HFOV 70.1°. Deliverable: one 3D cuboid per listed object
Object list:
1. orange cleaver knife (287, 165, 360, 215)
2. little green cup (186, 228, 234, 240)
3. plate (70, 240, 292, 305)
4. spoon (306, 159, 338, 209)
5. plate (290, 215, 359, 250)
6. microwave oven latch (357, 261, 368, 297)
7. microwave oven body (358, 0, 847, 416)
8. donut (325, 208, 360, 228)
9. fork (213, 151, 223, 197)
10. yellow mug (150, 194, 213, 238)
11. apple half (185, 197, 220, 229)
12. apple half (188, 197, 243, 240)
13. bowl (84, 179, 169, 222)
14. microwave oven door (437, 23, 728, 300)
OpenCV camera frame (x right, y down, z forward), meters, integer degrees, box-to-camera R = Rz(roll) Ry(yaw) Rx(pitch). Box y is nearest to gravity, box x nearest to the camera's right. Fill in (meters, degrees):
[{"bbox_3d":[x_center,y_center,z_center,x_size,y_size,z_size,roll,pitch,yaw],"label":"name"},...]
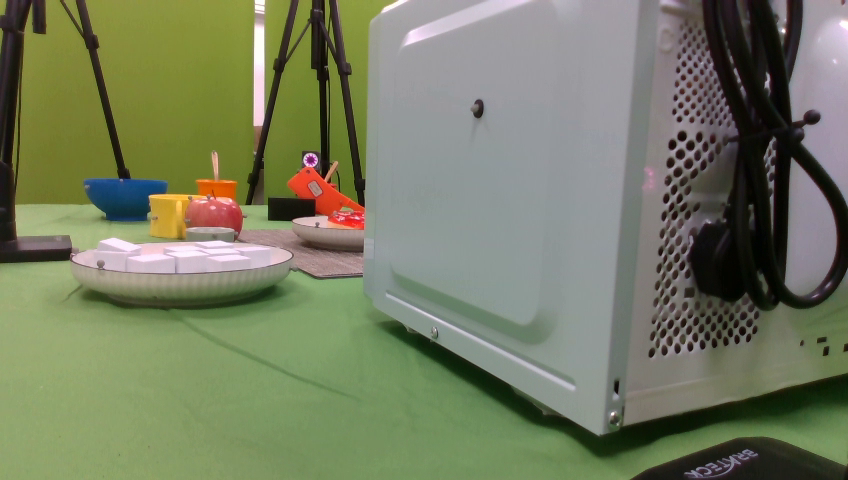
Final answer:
[{"bbox_3d":[-0.211,-0.093,1.382,0.212,0.077,0.012,33,1,-15],"label":"orange cleaver knife"},{"bbox_3d":[-0.284,0.005,0.805,0.061,0.038,0.061,2,8,0],"label":"little green cup"},{"bbox_3d":[-0.242,0.031,0.618,0.208,0.039,0.207,2,8,0],"label":"plate"},{"bbox_3d":[-0.257,-0.147,1.567,0.041,0.022,0.193,2,50,19],"label":"spoon"},{"bbox_3d":[-0.110,-0.013,0.973,0.209,0.038,0.209,3,8,0],"label":"plate"},{"bbox_3d":[-0.019,0.033,0.531,0.079,0.029,0.030,-1,7,-27],"label":"microwave oven latch"},{"bbox_3d":[0.211,-0.047,0.474,0.444,0.260,0.324,-1,7,-28],"label":"microwave oven body"},{"bbox_3d":[-0.110,-0.025,0.974,0.099,0.048,0.099,5,8,0],"label":"donut"},{"bbox_3d":[-0.494,-0.143,1.442,0.028,0.018,0.206,-2,52,-20],"label":"fork"},{"bbox_3d":[-0.401,-0.040,1.003,0.100,0.064,0.130,-1,8,-20],"label":"yellow mug"},{"bbox_3d":[-0.338,-0.031,0.927,0.032,0.081,0.081,12,12,31],"label":"apple half"},{"bbox_3d":[-0.305,-0.026,0.907,0.053,0.074,0.081,12,8,31],"label":"apple half"},{"bbox_3d":[-0.584,-0.078,1.194,0.151,0.077,0.151,3,8,0],"label":"bowl"},{"bbox_3d":[0.180,-0.072,0.621,0.358,0.243,0.039,-2,9,-29],"label":"microwave oven door"}]
